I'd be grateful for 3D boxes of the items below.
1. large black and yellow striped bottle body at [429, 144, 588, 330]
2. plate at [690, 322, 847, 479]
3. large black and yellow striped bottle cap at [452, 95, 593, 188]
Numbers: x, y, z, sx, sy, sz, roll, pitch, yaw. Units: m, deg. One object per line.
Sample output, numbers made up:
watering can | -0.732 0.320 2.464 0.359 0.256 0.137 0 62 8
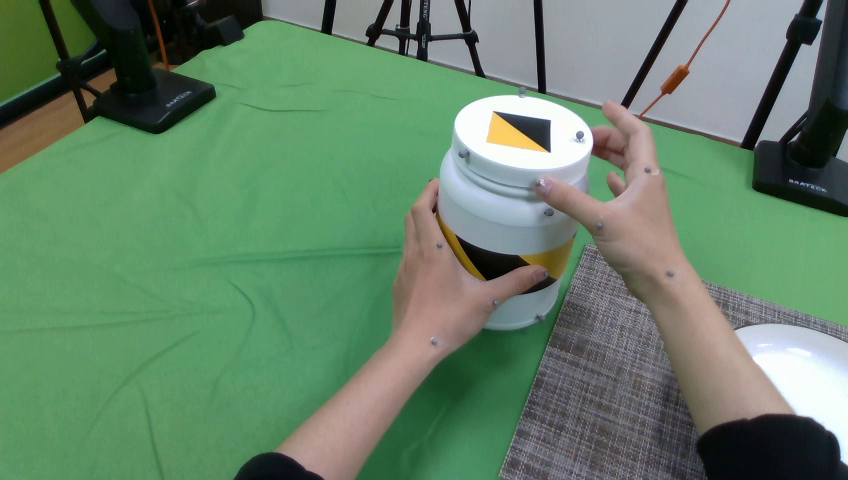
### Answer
large black and yellow striped bottle body | 0.075 -0.021 0.557 0.131 0.185 0.129 3 43 -2
plate | 0.319 0.158 0.493 0.208 0.039 0.205 3 43 -3
large black and yellow striped bottle cap | 0.080 -0.084 0.499 0.115 0.019 0.114 2 42 -1
